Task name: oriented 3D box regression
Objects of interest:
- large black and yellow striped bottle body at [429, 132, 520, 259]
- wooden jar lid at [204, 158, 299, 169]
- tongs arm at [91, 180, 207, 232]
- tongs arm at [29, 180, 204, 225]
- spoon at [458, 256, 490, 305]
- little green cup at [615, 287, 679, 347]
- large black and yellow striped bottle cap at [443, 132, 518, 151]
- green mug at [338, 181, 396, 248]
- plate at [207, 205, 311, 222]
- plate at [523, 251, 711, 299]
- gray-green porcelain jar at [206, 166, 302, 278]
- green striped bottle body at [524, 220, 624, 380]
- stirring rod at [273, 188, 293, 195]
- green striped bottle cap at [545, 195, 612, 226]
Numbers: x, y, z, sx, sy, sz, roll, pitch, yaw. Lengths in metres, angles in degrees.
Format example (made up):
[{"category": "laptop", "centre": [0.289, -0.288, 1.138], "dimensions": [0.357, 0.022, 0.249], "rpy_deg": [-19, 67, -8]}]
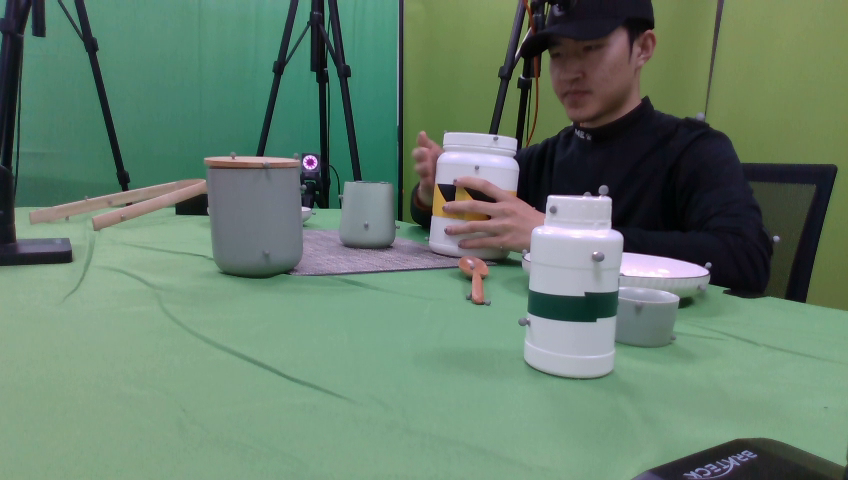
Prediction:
[{"category": "large black and yellow striped bottle body", "centre": [0.079, -0.069, 0.938], "dimensions": [0.131, 0.184, 0.130], "rpy_deg": [5, 5, 0]}, {"category": "wooden jar lid", "centre": [-0.203, -0.086, 0.714], "dimensions": [0.108, 0.020, 0.108], "rpy_deg": [3, 11, 0]}, {"category": "tongs arm", "centre": [-0.534, -0.076, 1.221], "dimensions": [0.028, 0.028, 0.388], "rpy_deg": [-2, 15, 12]}, {"category": "tongs arm", "centre": [-0.609, -0.083, 1.245], "dimensions": [0.050, 0.026, 0.386], "rpy_deg": [4, 16, 23]}, {"category": "spoon", "centre": [0.059, 0.044, 0.695], "dimensions": [0.041, 0.021, 0.194], "rpy_deg": [19, 7, 1]}, {"category": "little green cup", "centre": [0.180, 0.064, 0.506], "dimensions": [0.061, 0.038, 0.061], "rpy_deg": [1, 8, 0]}, {"category": "large black and yellow striped bottle cap", "centre": [0.087, -0.151, 0.931], "dimensions": [0.115, 0.019, 0.115], "rpy_deg": [5, 7, 0]}, {"category": "green mug", "centre": [-0.098, -0.044, 0.995], "dimensions": [0.093, 0.105, 0.125], "rpy_deg": [-1, 8, -21]}, {"category": "plate", "centre": [-0.342, -0.050, 1.259], "dimensions": [0.208, 0.039, 0.207], "rpy_deg": [3, 7, 0]}, {"category": "plate", "centre": [0.219, 0.041, 0.706], "dimensions": [0.209, 0.038, 0.209], "rpy_deg": [2, 7, 0]}, {"category": "gray-green porcelain jar", "centre": [-0.201, -0.024, 0.724], "dimensions": [0.106, 0.126, 0.106], "rpy_deg": [-1, 9, 1]}, {"category": "green striped bottle body", "centre": [0.104, 0.031, 0.422], "dimensions": [0.063, 0.119, 0.063], "rpy_deg": [2, 8, 0]}, {"category": "stirring rod", "centre": [-0.353, -0.122, 1.518], "dimensions": [0.006, 0.014, 0.176], "rpy_deg": [2, 7, 2]}, {"category": "green striped bottle cap", "centre": [0.105, -0.020, 0.415], "dimensions": [0.044, 0.020, 0.044], "rpy_deg": [2, 4, 0]}]
